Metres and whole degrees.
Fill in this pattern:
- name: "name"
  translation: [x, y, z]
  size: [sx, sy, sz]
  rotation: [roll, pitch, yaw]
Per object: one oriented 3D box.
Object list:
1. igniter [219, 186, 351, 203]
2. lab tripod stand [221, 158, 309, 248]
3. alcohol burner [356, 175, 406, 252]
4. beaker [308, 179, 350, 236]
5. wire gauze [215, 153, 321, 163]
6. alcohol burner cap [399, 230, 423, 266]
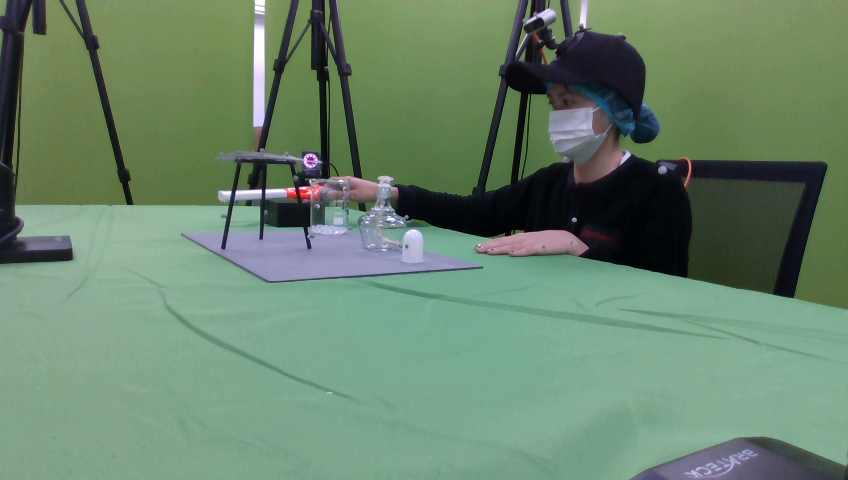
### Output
- name: "igniter"
  translation: [-0.281, -0.095, 1.256]
  size: [0.278, 0.025, 0.057]
  rotation: [-6, 19, -34]
- name: "lab tripod stand"
  translation: [-0.244, -0.057, 0.917]
  size: [0.148, 0.131, 0.148]
  rotation: [1, 7, 0]
- name: "alcohol burner"
  translation: [-0.066, -0.041, 0.940]
  size: [0.078, 0.119, 0.078]
  rotation: [4, 6, 0]
- name: "beaker"
  translation: [-0.176, -0.060, 1.104]
  size: [0.073, 0.100, 0.084]
  rotation: [8, 10, 39]
- name: "wire gauze"
  translation: [-0.235, -0.123, 0.906]
  size: [0.126, 0.011, 0.121]
  rotation: [-2, 7, -33]
- name: "alcohol burner cap"
  translation: [-0.017, 0.010, 0.837]
  size: [0.034, 0.048, 0.034]
  rotation: [3, 7, 0]
